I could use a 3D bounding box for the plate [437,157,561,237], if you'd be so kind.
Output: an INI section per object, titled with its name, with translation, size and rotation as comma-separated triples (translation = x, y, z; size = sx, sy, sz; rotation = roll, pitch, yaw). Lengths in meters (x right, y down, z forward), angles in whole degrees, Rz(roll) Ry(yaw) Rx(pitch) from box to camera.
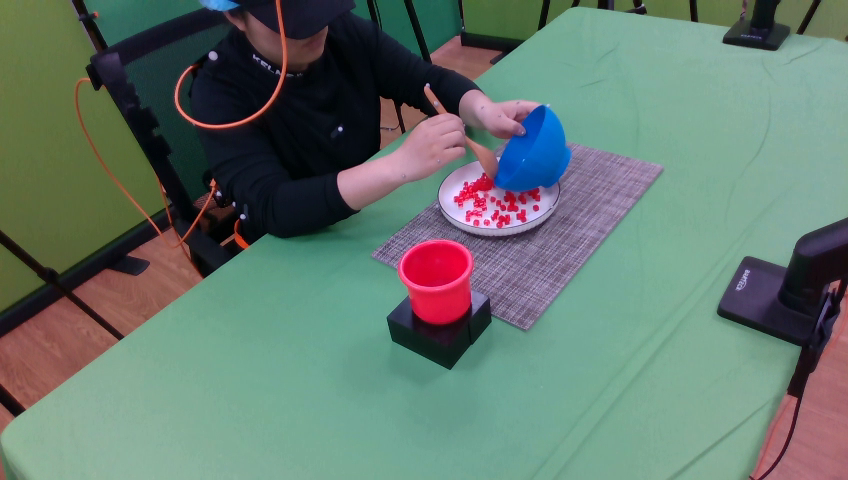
[plate]
translation = 0.127, -0.069, 1.023
size = 0.207, 0.039, 0.206
rotation = -5, 40, 5

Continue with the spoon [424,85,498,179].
[spoon]
translation = 0.060, -0.172, 0.971
size = 0.021, 0.195, 0.041
rotation = -16, 37, 51

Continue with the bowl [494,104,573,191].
[bowl]
translation = 0.186, -0.135, 0.978
size = 0.077, 0.151, 0.151
rotation = 28, 42, -11
